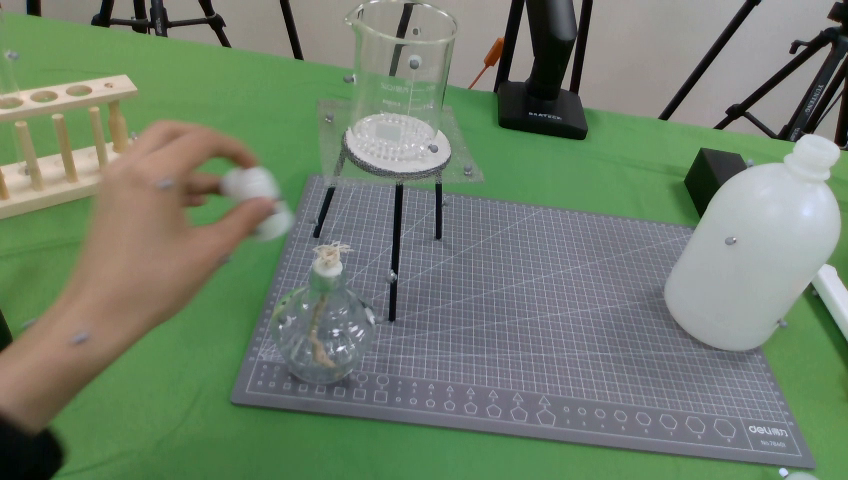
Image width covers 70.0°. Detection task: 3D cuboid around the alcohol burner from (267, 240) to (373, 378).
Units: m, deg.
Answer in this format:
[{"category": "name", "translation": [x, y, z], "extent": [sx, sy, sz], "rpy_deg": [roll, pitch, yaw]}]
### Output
[{"category": "alcohol burner", "translation": [-0.074, 0.046, 0.443], "extent": [0.078, 0.120, 0.077], "rpy_deg": [8, 40, -6]}]

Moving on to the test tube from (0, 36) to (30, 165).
[{"category": "test tube", "translation": [-0.369, -0.133, 0.532], "extent": [0.017, 0.151, 0.017], "rpy_deg": [7, 36, -5]}]

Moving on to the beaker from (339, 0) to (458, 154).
[{"category": "beaker", "translation": [-0.024, -0.123, 0.456], "extent": [0.084, 0.101, 0.073], "rpy_deg": [3, 43, -9]}]

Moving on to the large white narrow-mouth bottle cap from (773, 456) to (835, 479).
[{"category": "large white narrow-mouth bottle cap", "translation": [0.278, 0.180, 0.442], "extent": [0.038, 0.024, 0.037], "rpy_deg": [6, 41, -5]}]

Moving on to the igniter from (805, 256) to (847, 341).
[{"category": "igniter", "translation": [0.409, 0.110, 0.546], "extent": [0.057, 0.025, 0.274], "rpy_deg": [17, 40, -10]}]

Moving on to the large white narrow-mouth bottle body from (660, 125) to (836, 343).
[{"category": "large white narrow-mouth bottle body", "translation": [0.285, -0.007, 0.520], "extent": [0.102, 0.196, 0.101], "rpy_deg": [6, 41, -4]}]

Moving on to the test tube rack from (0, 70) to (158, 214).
[{"category": "test tube rack", "translation": [-0.380, -0.079, 0.545], "extent": [0.243, 0.086, 0.066], "rpy_deg": [-23, 51, -33]}]

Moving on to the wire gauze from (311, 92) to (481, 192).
[{"category": "wire gauze", "translation": [-0.027, -0.084, 0.486], "extent": [0.122, 0.011, 0.123], "rpy_deg": [-3, 46, -13]}]

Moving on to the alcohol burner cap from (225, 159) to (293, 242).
[{"category": "alcohol burner cap", "translation": [-0.103, -0.026, 0.370], "extent": [0.034, 0.048, 0.033], "rpy_deg": [-8, 32, 6]}]

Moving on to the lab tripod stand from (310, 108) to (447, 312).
[{"category": "lab tripod stand", "translation": [-0.032, -0.033, 0.527], "extent": [0.149, 0.132, 0.147], "rpy_deg": [8, 42, -6]}]
